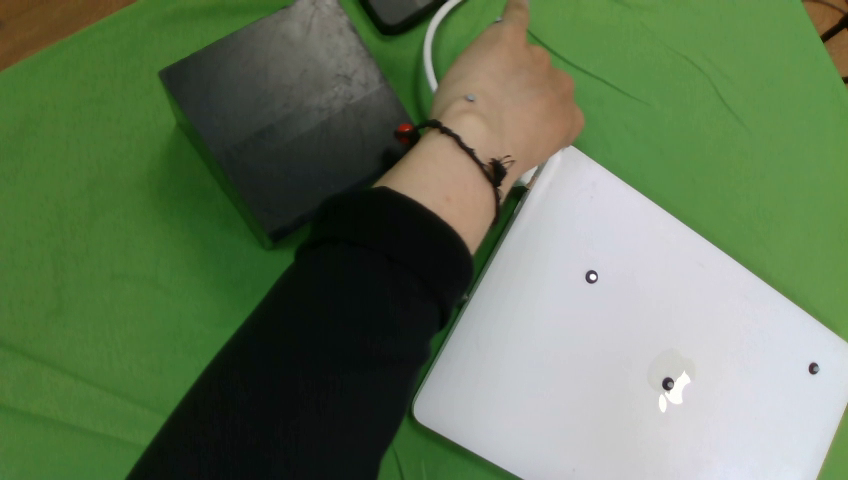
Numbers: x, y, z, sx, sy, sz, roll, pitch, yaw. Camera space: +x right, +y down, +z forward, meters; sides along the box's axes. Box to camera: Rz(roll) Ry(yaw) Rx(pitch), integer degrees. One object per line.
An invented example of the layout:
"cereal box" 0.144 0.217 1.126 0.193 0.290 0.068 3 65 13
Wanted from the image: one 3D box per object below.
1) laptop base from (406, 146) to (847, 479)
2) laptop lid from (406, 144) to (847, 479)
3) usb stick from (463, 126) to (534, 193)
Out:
"laptop base" 0.183 0.112 0.491 0.356 0.023 0.235 32 82 -14
"laptop lid" 0.186 0.114 0.478 0.358 0.013 0.241 33 81 -14
"usb stick" 0.060 -0.056 0.442 0.059 0.027 0.021 37 75 -15
